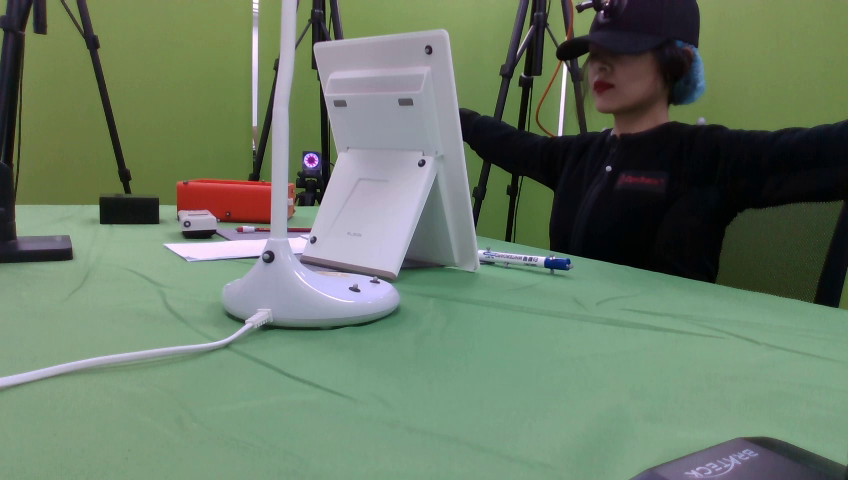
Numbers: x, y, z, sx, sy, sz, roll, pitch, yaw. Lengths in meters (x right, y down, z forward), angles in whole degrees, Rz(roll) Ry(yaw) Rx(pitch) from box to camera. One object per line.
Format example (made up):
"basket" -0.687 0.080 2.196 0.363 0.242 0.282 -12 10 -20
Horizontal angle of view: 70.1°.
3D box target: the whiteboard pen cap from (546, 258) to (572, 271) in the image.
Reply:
"whiteboard pen cap" 0.175 0.032 0.790 0.033 0.018 0.018 3 7 38

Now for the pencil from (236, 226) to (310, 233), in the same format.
"pencil" -0.239 -0.017 1.093 0.195 0.012 0.012 1 7 -27

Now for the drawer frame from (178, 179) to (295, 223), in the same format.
"drawer frame" -0.397 -0.088 1.315 0.214 0.082 0.201 1 8 -7

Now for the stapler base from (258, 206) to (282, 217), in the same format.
"stapler base" -0.331 -0.064 1.306 0.041 0.024 0.130 9 -2 -9

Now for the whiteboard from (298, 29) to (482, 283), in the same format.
"whiteboard" -0.075 -0.082 0.742 0.216 0.305 0.144 9 29 37

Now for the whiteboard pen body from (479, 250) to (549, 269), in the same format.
"whiteboard pen body" 0.130 0.028 0.827 0.140 0.017 0.017 7 8 38

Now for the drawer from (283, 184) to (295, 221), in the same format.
"drawer" -0.394 -0.086 1.317 0.212 0.073 0.194 1 8 -7

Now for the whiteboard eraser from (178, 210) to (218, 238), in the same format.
"whiteboard eraser" -0.380 -0.027 1.014 0.056 0.042 0.112 0 8 -25

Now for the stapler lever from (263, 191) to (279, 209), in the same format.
"stapler lever" -0.329 -0.085 1.306 0.027 0.040 0.118 9 2 -9

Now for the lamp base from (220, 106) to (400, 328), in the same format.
"lamp base" -0.101 -0.023 0.531 0.160 0.180 0.179 4 10 10
